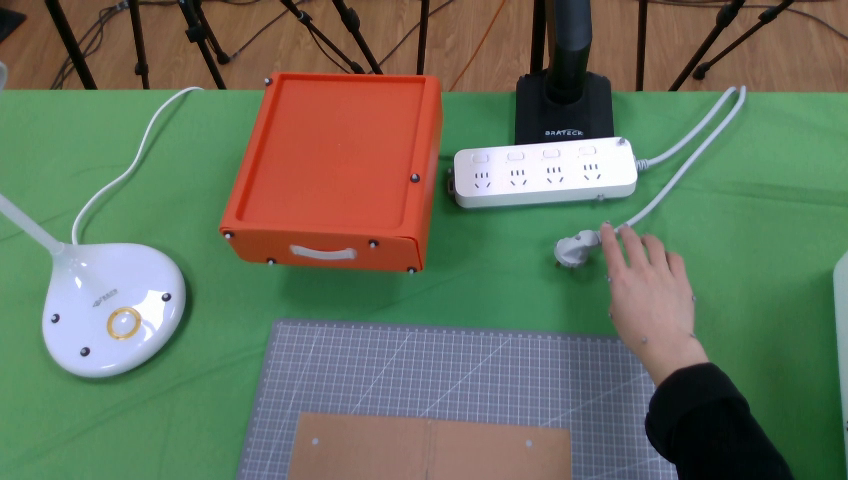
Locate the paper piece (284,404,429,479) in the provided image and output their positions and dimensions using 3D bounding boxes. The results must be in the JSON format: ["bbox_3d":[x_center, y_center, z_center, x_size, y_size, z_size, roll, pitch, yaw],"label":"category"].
[{"bbox_3d":[-0.068,0.226,0.576,0.136,0.009,0.137,1,62,10],"label":"paper piece"}]

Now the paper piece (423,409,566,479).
[{"bbox_3d":[0.064,0.229,0.560,0.135,0.004,0.134,3,61,7],"label":"paper piece"}]

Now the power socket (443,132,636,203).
[{"bbox_3d":[0.135,-0.085,0.716,0.226,0.033,0.071,-3,62,4],"label":"power socket"}]

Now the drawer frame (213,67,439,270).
[{"bbox_3d":[-0.095,-0.082,0.659,0.201,0.083,0.212,3,61,8],"label":"drawer frame"}]

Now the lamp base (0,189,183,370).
[{"bbox_3d":[-0.369,0.025,0.620,0.178,0.182,0.160,33,69,24],"label":"lamp base"}]

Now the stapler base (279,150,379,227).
[{"bbox_3d":[-0.110,-0.060,0.668,0.129,0.024,0.041,31,85,23],"label":"stapler base"}]

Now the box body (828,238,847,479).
[{"bbox_3d":[0.493,0.141,0.480,0.253,0.162,0.361,9,63,11],"label":"box body"}]

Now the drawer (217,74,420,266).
[{"bbox_3d":[-0.094,-0.080,0.657,0.194,0.074,0.210,3,61,8],"label":"drawer"}]

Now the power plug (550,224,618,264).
[{"bbox_3d":[0.173,0.008,0.658,0.073,0.053,0.035,4,56,-14],"label":"power plug"}]

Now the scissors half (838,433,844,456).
[{"bbox_3d":[0.448,0.153,0.557,0.175,0.013,0.039,-24,64,-13],"label":"scissors half"}]

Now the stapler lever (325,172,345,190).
[{"bbox_3d":[-0.120,-0.068,0.644,0.117,0.040,0.027,31,85,25],"label":"stapler lever"}]
